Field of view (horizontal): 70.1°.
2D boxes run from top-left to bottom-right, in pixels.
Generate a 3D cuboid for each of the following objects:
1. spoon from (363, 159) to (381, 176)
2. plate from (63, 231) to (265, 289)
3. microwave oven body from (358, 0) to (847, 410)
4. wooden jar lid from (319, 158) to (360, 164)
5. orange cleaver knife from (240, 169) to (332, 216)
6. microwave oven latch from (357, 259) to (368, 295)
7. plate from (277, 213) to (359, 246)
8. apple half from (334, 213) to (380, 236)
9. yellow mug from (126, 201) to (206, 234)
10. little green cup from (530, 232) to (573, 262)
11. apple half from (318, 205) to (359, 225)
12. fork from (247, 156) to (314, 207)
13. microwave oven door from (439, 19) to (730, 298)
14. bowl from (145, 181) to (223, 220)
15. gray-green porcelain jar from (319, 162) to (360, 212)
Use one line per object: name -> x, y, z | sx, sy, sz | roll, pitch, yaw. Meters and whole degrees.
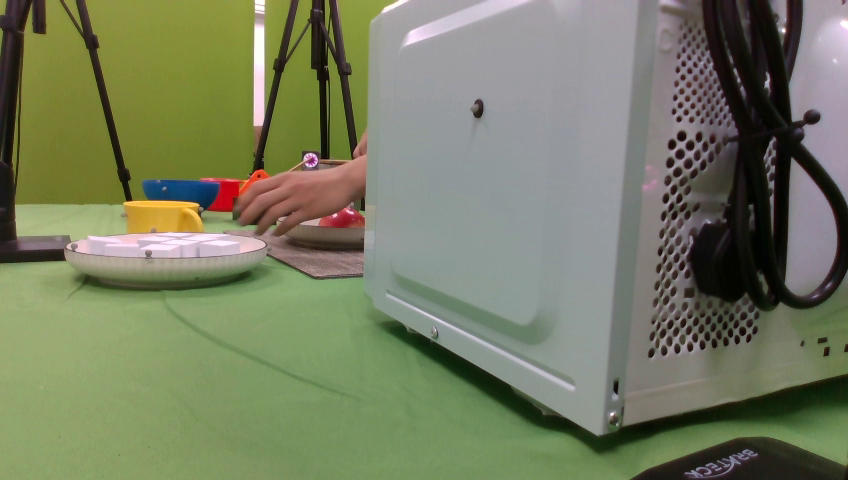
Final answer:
spoon -> -0.088, -0.139, 1.112 | 0.041, 0.021, 0.193 | 38, 10, -7
plate -> -0.288, 0.021, 0.687 | 0.208, 0.039, 0.207 | 2, 8, 0
microwave oven body -> 0.210, -0.051, 0.471 | 0.444, 0.260, 0.324 | -1, 7, -28
wooden jar lid -> -0.203, -0.189, 1.482 | 0.108, 0.020, 0.108 | 2, 10, 0
orange cleaver knife -> -0.286, -0.082, 1.298 | 0.212, 0.077, 0.012 | 25, -2, -31
microwave oven latch -> -0.019, 0.031, 0.529 | 0.079, 0.029, 0.030 | -1, 7, -26
plate -> -0.135, -0.018, 0.993 | 0.209, 0.038, 0.209 | 2, 7, 0
apple half -> -0.112, -0.029, 1.034 | 0.081, 0.033, 0.081 | 0, 10, 0
yellow mug -> -0.360, -0.019, 0.866 | 0.130, 0.064, 0.100 | 6, 9, 27
little green cup -> 0.184, 0.010, 0.880 | 0.061, 0.038, 0.061 | 2, 6, 0
apple half -> -0.126, -0.028, 0.954 | 0.081, 0.053, 0.074 | -2, 11, -33
fork -> -0.360, -0.147, 1.523 | 0.207, 0.019, 0.028 | -43, 16, -7
microwave oven door -> 0.182, -0.076, 0.617 | 0.358, 0.243, 0.039 | -2, 8, -28
bowl -> -0.499, -0.081, 1.261 | 0.151, 0.077, 0.151 | 2, 7, 0
gray-green porcelain jar -> -0.204, -0.126, 1.489 | 0.106, 0.126, 0.106 | 2, 7, 0
